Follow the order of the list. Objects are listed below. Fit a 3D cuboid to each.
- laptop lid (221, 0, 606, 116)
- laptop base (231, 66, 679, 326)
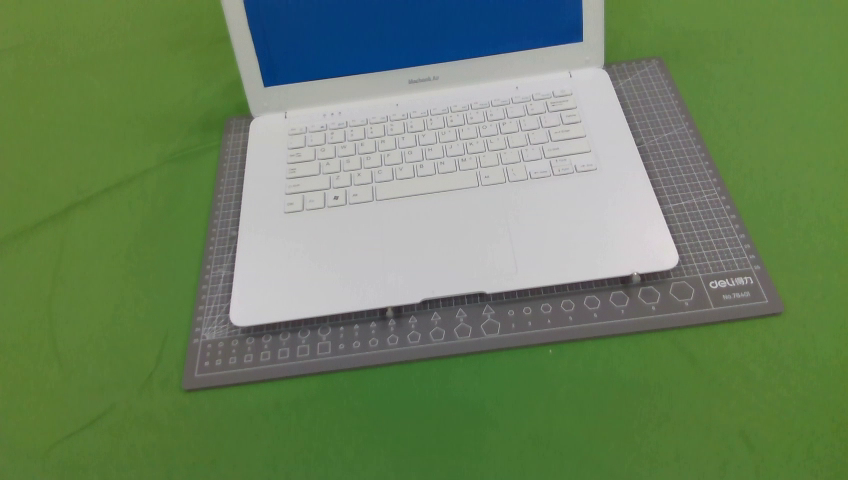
[{"bbox_3d":[-0.012,-0.245,0.549,0.357,0.243,0.013,-9,27,2],"label":"laptop lid"},{"bbox_3d":[0.013,-0.048,0.535,0.354,0.023,0.233,-8,58,2],"label":"laptop base"}]
